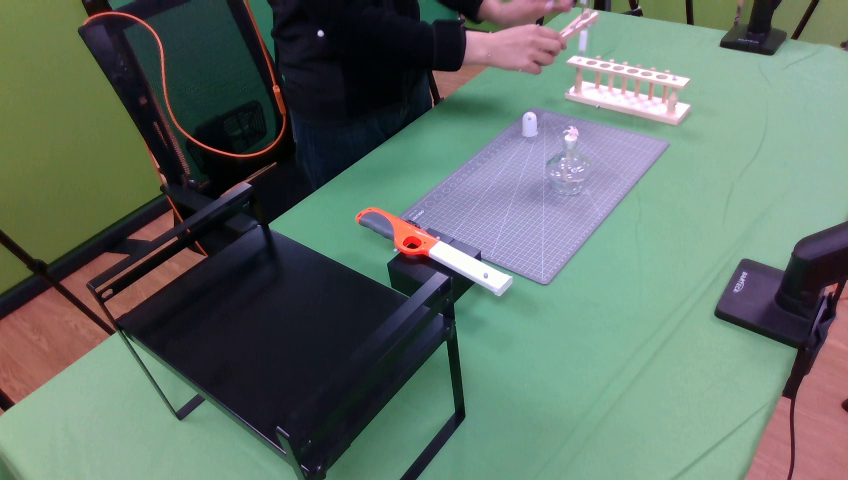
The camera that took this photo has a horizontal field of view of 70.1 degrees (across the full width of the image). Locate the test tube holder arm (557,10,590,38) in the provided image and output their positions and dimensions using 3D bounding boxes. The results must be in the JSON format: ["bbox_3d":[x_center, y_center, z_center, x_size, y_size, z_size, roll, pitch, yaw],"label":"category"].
[{"bbox_3d":[0.270,-0.384,1.089,0.010,0.015,0.088,34,68,33],"label":"test tube holder arm"}]

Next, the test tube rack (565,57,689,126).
[{"bbox_3d":[0.412,-0.311,1.230,0.240,0.085,0.067,24,49,32],"label":"test tube rack"}]

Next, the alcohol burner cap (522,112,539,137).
[{"bbox_3d":[0.210,-0.230,1.195,0.034,0.048,0.033,-5,43,5],"label":"alcohol burner cap"}]

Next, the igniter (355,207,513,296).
[{"bbox_3d":[0.006,0.010,0.885,0.274,0.025,0.057,27,53,30],"label":"igniter"}]

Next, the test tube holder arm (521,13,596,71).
[{"bbox_3d":[0.240,-0.353,1.074,0.179,0.015,0.013,-38,54,-15],"label":"test tube holder arm"}]

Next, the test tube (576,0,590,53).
[{"bbox_3d":[0.288,-0.400,1.088,0.017,0.151,0.017,-4,55,6],"label":"test tube"}]

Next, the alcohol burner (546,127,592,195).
[{"bbox_3d":[0.247,-0.137,1.024,0.078,0.119,0.077,-4,38,4],"label":"alcohol burner"}]
